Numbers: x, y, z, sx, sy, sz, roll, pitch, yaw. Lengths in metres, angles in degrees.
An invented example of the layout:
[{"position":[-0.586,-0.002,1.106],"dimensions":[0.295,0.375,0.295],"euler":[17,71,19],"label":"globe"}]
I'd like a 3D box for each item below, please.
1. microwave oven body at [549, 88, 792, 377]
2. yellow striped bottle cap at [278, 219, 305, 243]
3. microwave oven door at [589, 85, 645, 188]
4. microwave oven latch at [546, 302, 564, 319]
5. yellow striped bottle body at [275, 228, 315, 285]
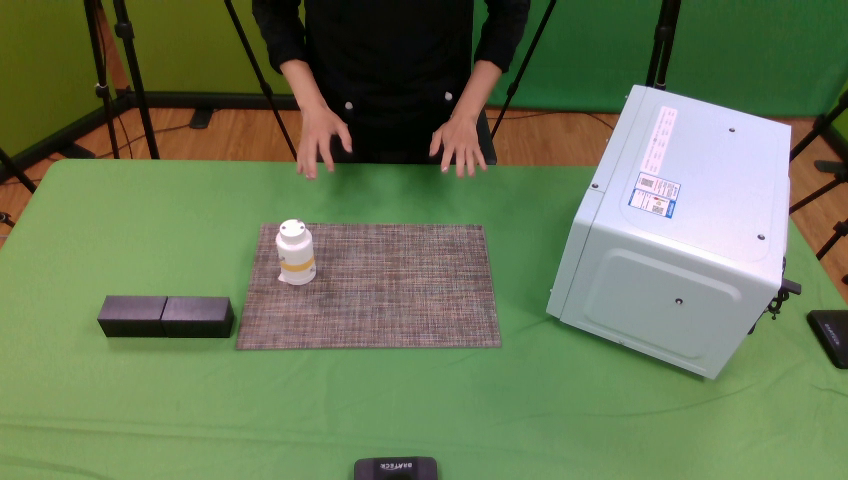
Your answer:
[{"position":[0.456,-0.028,1.088],"dimensions":[0.325,0.261,0.440],"euler":[20,47,16],"label":"microwave oven body"},{"position":[-0.229,-0.015,1.047],"dimensions":[0.044,0.019,0.044],"euler":[3,44,-3],"label":"yellow striped bottle cap"},{"position":[0.341,-0.108,1.149],"dimensions":[0.039,0.245,0.354],"euler":[20,48,15],"label":"microwave oven door"},{"position":[0.242,0.102,1.081],"dimensions":[0.030,0.029,0.079],"euler":[21,48,17],"label":"microwave oven latch"},{"position":[-0.231,0.021,1.085],"dimensions":[0.063,0.121,0.062],"euler":[2,46,-2],"label":"yellow striped bottle body"}]
